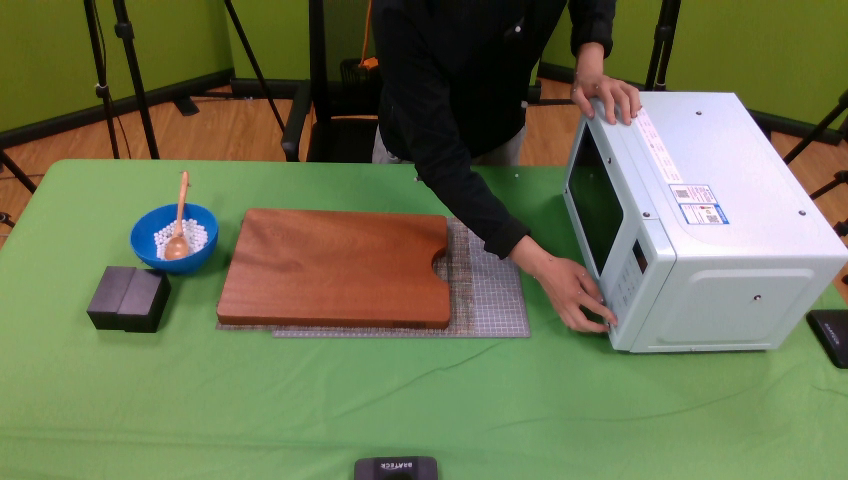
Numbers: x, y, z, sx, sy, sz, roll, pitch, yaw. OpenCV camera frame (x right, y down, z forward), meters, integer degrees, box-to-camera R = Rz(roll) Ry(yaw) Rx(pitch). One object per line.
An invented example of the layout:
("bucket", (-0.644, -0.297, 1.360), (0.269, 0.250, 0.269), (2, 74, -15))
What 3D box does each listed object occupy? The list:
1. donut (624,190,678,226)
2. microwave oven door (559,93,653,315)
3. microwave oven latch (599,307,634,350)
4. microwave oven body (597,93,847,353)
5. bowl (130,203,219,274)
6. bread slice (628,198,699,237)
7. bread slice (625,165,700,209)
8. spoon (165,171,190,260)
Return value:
("donut", (0.439, -0.062, 1.173), (0.099, 0.048, 0.098), (-6, 29, 4))
("microwave oven door", (0.327, -0.074, 1.123), (0.039, 0.245, 0.353), (-1, 46, -5))
("microwave oven latch", (0.330, 0.152, 1.045), (0.030, 0.029, 0.078), (-4, 46, -7))
("microwave oven body", (0.476, -0.042, 1.109), (0.326, 0.261, 0.438), (-1, 45, -4))
("bowl", (-0.450, 0.010, 1.116), (0.151, 0.077, 0.150), (3, 45, -3))
("bread slice", (0.471, -0.045, 1.196), (0.131, 0.019, 0.104), (6, 41, 10))
("bread slice", (0.452, -0.098, 1.143), (0.135, 0.018, 0.106), (4, 42, -20))
("spoon", (-0.452, -0.046, 1.128), (0.041, 0.022, 0.193), (-2, 69, -1))
